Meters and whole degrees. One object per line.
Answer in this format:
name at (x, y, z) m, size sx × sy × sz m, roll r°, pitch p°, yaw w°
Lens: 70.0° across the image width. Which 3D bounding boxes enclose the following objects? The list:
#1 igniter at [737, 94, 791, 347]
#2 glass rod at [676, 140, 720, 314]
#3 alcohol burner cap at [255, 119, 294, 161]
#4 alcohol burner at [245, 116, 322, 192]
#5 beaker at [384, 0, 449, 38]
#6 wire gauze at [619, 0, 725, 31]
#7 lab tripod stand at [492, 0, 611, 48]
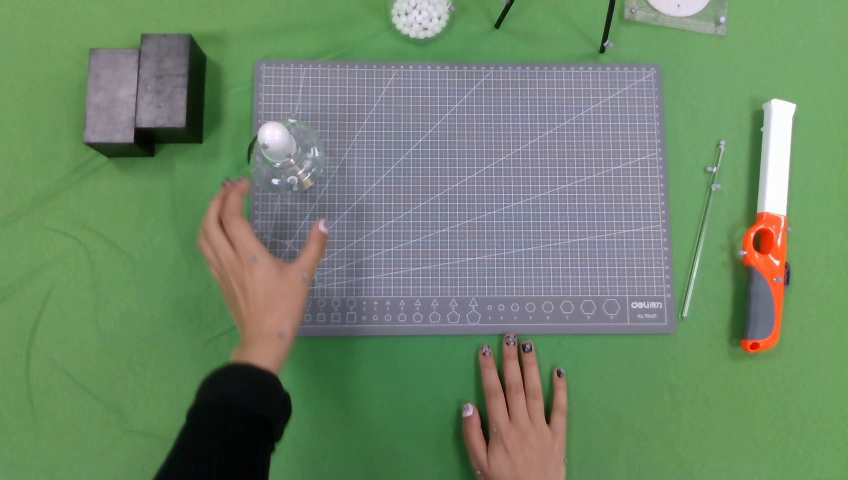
igniter at (0.367, -0.022, 0.651) m, size 0.057 × 0.025 × 0.275 m, roll 10°, pitch 82°, yaw -11°
glass rod at (0.298, -0.016, 0.658) m, size 0.008 × 0.008 × 0.199 m, roll 16°, pitch 83°, yaw 0°
alcohol burner cap at (-0.139, -0.094, 0.560) m, size 0.034 × 0.048 × 0.034 m, roll 1°, pitch 84°, yaw -5°
alcohol burner at (-0.141, -0.090, 0.595) m, size 0.078 × 0.119 × 0.077 m, roll 0°, pitch 80°, yaw -1°
beaker at (-0.006, -0.262, 0.633) m, size 0.074 × 0.100 × 0.084 m, roll -44°, pitch 86°, yaw -6°
wire gauze at (0.285, -0.305, 0.696) m, size 0.125 × 0.011 × 0.121 m, roll 7°, pitch 82°, yaw 1°
lab tripod stand at (0.146, -0.278, 0.623) m, size 0.148 × 0.132 × 0.148 m, roll 0°, pitch 81°, yaw 0°
